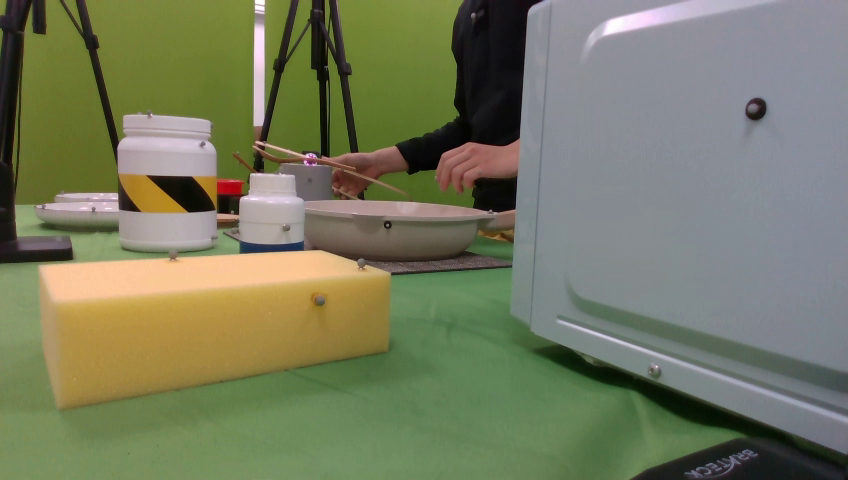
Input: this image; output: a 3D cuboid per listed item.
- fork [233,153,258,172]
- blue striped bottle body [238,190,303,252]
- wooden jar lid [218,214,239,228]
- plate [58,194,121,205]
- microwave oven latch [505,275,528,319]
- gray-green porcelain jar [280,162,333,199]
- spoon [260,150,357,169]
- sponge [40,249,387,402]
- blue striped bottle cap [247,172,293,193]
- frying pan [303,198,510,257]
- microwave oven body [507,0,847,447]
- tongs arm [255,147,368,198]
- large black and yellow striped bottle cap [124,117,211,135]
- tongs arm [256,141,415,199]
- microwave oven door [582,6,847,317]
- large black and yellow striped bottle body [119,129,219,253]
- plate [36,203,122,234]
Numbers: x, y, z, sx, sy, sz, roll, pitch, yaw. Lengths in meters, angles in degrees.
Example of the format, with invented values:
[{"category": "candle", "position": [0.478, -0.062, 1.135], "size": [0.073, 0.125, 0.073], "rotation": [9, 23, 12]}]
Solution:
[{"category": "fork", "position": [-0.396, -0.143, 1.486], "size": [0.028, 0.018, 0.208], "rotation": [21, -26, 45]}, {"category": "blue striped bottle body", "position": [-0.153, -0.007, 0.606], "size": [0.063, 0.120, 0.063], "rotation": [2, 7, 0]}, {"category": "wooden jar lid", "position": [-0.404, -0.037, 1.169], "size": [0.108, 0.020, 0.108], "rotation": [3, 7, 0]}, {"category": "plate", "position": [-0.671, -0.074, 1.310], "size": [0.209, 0.038, 0.209], "rotation": [2, 8, 0]}, {"category": "microwave oven latch", "position": [0.100, 0.041, 0.471], "size": [0.079, 0.029, 0.030], "rotation": [-1, 7, -28]}, {"category": "gray-green porcelain jar", "position": [-0.238, -0.092, 1.221], "size": [0.106, 0.126, 0.106], "rotation": [2, 7, 0]}, {"category": "spoon", "position": [-0.231, -0.162, 1.221], "size": [0.194, 0.021, 0.041], "rotation": [3, 2, -16]}, {"category": "sponge", "position": [-0.142, 0.047, 0.420], "size": [0.208, 0.061, 0.117], "rotation": [-3, 8, -36]}, {"category": "blue striped bottle cap", "position": [-0.152, -0.057, 0.598], "size": [0.044, 0.020, 0.044], "rotation": [3, 6, 0]}, {"category": "frying pan", "position": [0.051, -0.035, 0.915], "size": [0.487, 0.102, 0.307], "rotation": [-5, 7, 11]}, {"category": "microwave oven body", "position": [0.331, -0.042, 0.425], "size": [0.444, 0.260, 0.324], "rotation": [-2, 8, -31]}, {"category": "tongs arm", "position": [-0.205, -0.138, 1.386], "size": [0.388, 0.028, 0.028], "rotation": [23, 5, -2]}, {"category": "large black and yellow striped bottle cap", "position": [-0.366, -0.163, 0.866], "size": [0.115, 0.019, 0.115], "rotation": [3, 7, 0]}, {"category": "tongs arm", "position": [-0.200, -0.150, 1.384], "size": [0.385, 0.050, 0.026], "rotation": [16, 8, 0]}, {"category": "microwave oven door", "position": [0.295, -0.067, 0.569], "size": [0.358, 0.243, 0.039], "rotation": [-3, 8, -31]}, {"category": "large black and yellow striped bottle body", "position": [-0.367, -0.079, 0.876], "size": [0.131, 0.184, 0.130], "rotation": [2, 7, 0]}, {"category": "plate", "position": [-0.571, -0.040, 1.083], "size": [0.208, 0.039, 0.207], "rotation": [2, 8, 0]}]
